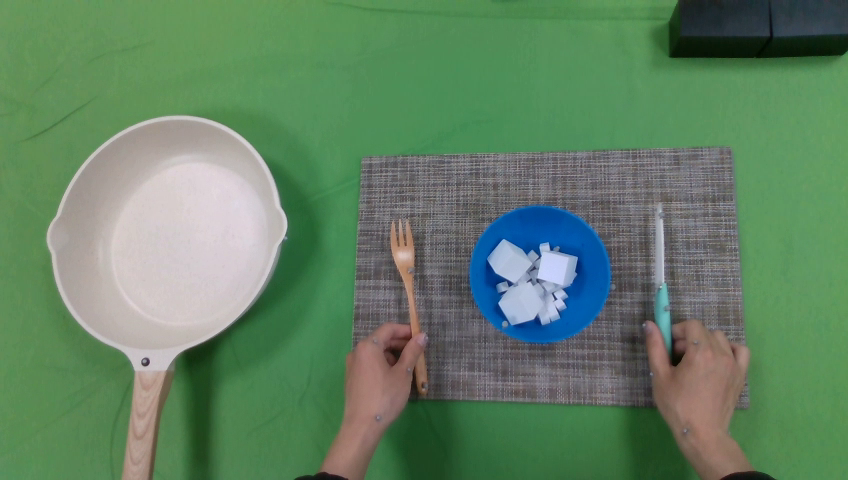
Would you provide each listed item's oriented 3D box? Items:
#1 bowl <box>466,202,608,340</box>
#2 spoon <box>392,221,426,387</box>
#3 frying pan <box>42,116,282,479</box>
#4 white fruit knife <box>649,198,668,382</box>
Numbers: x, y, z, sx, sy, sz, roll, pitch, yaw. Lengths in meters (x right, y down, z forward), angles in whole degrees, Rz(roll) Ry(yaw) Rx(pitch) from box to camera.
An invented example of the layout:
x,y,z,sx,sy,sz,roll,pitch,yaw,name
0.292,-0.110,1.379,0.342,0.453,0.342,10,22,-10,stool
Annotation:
x,y,z,sx,sy,sz,roll,pitch,yaw,name
0.124,0.039,0.681,0.151,0.077,0.150,-1,78,7,bowl
-0.016,0.073,0.708,0.042,0.022,0.192,-1,74,-5,spoon
-0.315,0.091,0.720,0.306,0.103,0.484,-1,70,8,frying pan
0.260,0.054,0.680,0.016,0.027,0.206,2,80,-4,white fruit knife
